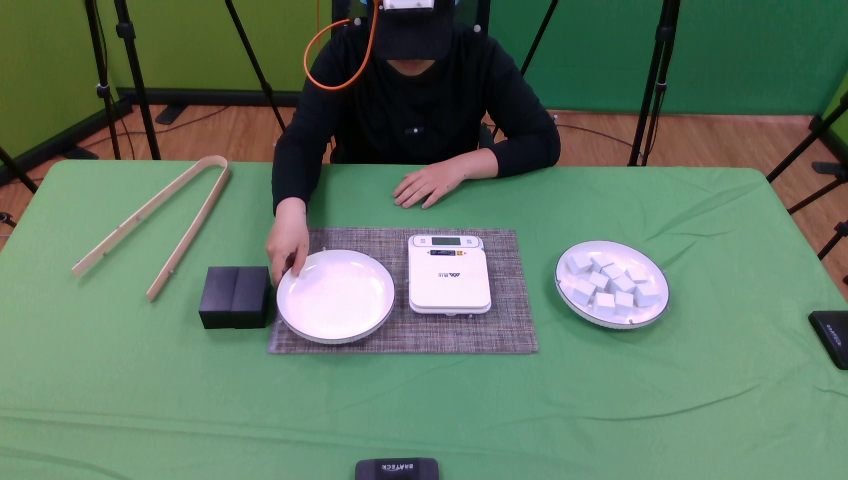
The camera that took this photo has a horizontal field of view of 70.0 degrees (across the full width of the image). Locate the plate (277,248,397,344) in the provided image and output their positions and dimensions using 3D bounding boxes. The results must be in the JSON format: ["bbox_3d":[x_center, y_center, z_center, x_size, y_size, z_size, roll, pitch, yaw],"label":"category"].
[{"bbox_3d":[-0.152,0.102,1.073,0.208,0.039,0.206,2,46,-2],"label":"plate"}]

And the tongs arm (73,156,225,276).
[{"bbox_3d":[-0.531,-0.058,1.205,0.050,0.026,0.383,19,47,13],"label":"tongs arm"}]

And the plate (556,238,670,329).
[{"bbox_3d":[0.347,0.083,1.130,0.209,0.038,0.208,2,47,-2],"label":"plate"}]

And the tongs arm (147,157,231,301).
[{"bbox_3d":[-0.453,-0.035,1.193,0.028,0.028,0.385,6,46,6],"label":"tongs arm"}]

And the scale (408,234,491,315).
[{"bbox_3d":[0.045,0.055,1.135,0.149,0.032,0.199,1,46,-3],"label":"scale"}]
